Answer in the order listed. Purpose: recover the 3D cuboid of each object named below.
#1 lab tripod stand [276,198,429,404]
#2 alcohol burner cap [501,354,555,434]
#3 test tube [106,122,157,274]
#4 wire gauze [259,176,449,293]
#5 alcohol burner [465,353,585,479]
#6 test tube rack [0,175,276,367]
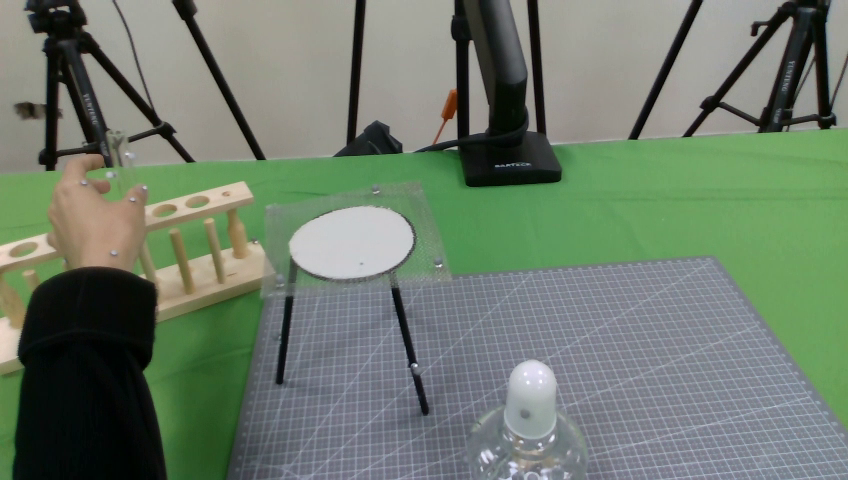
[{"bbox_3d":[-0.052,0.047,0.469,0.148,0.132,0.147,-2,39,2],"label":"lab tripod stand"},{"bbox_3d":[0.063,0.089,0.363,0.034,0.048,0.033,-2,39,2],"label":"alcohol burner cap"},{"bbox_3d":[-0.263,-0.033,0.547,0.017,0.151,0.017,2,30,-1],"label":"test tube"},{"bbox_3d":[-0.054,-0.007,0.428,0.125,0.011,0.120,-8,37,-7],"label":"wire gauze"},{"bbox_3d":[0.065,0.118,0.385,0.078,0.120,0.077,-1,35,1],"label":"alcohol burner"},{"bbox_3d":[-0.270,0.022,0.557,0.243,0.086,0.066,-19,40,-22],"label":"test tube rack"}]
